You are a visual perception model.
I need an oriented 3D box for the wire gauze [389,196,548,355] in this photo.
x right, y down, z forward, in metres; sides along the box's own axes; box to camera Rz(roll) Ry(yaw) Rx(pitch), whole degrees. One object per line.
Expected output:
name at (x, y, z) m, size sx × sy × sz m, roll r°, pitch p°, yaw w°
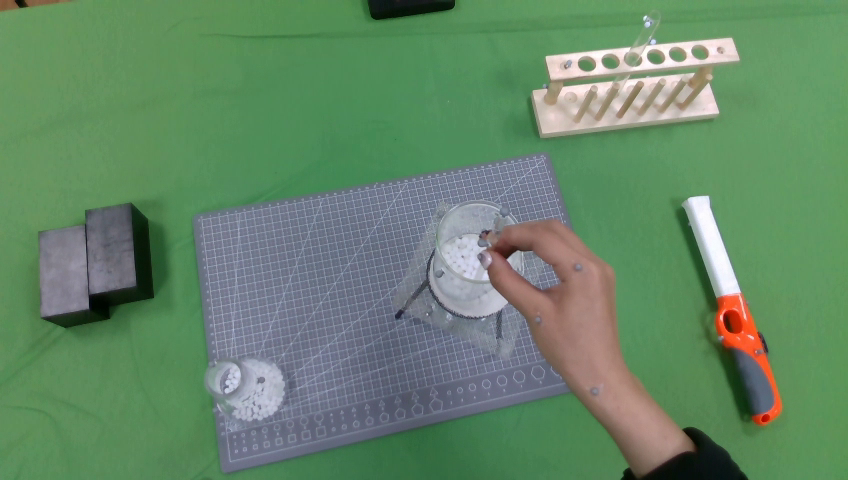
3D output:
wire gauze at (0.045, 0.031, 0.589) m, size 0.125 × 0.011 × 0.121 m, roll 25°, pitch 75°, yaw 3°

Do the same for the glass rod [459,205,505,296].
glass rod at (0.043, 0.014, 0.480) m, size 0.008 × 0.201 × 0.008 m, roll 1°, pitch 69°, yaw -4°

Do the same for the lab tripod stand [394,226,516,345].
lab tripod stand at (0.039, 0.050, 0.651) m, size 0.148 × 0.132 × 0.147 m, roll 1°, pitch 73°, yaw -2°

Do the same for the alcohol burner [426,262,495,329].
alcohol burner at (0.041, 0.057, 0.660) m, size 0.078 × 0.119 × 0.077 m, roll 0°, pitch 73°, yaw -1°

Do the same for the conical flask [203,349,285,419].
conical flask at (-0.187, 0.140, 0.613) m, size 0.075 × 0.122 × 0.075 m, roll 1°, pitch 71°, yaw -3°

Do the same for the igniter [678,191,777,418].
igniter at (0.361, 0.070, 0.724) m, size 0.057 × 0.025 × 0.274 m, roll -6°, pitch 72°, yaw -17°

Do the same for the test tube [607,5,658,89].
test tube at (0.249, -0.228, 0.732) m, size 0.017 × 0.151 × 0.017 m, roll 0°, pitch 71°, yaw 0°

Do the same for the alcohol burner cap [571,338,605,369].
alcohol burner cap at (0.188, 0.126, 0.683) m, size 0.034 × 0.048 × 0.033 m, roll 1°, pitch 70°, yaw -3°

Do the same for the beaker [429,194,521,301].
beaker at (0.044, 0.014, 0.544) m, size 0.083 × 0.101 × 0.074 m, roll 37°, pitch 74°, yaw 9°

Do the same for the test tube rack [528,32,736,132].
test tube rack at (0.265, -0.201, 0.777) m, size 0.243 × 0.085 × 0.066 m, roll -8°, pitch 72°, yaw -6°
